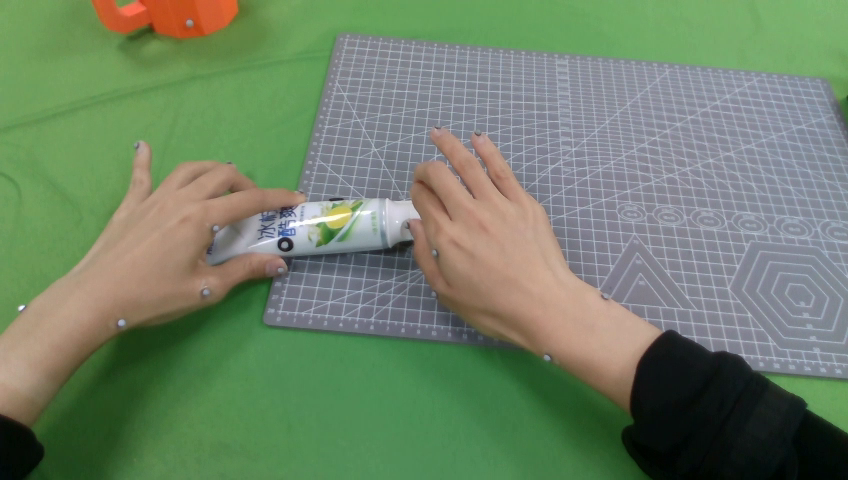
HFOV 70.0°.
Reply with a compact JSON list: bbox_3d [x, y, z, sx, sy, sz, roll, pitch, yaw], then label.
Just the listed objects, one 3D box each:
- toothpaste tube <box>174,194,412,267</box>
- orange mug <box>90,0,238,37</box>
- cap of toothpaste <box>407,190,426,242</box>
[{"bbox_3d":[-0.085,-0.012,0.416,0.165,0.035,0.054,-4,52,-1],"label":"toothpaste tube"},{"bbox_3d":[-0.229,-0.235,0.519,0.126,0.101,0.083,-36,64,-29],"label":"orange mug"},{"bbox_3d":[-0.005,-0.016,0.416,0.011,0.037,0.037,-7,56,-6],"label":"cap of toothpaste"}]
